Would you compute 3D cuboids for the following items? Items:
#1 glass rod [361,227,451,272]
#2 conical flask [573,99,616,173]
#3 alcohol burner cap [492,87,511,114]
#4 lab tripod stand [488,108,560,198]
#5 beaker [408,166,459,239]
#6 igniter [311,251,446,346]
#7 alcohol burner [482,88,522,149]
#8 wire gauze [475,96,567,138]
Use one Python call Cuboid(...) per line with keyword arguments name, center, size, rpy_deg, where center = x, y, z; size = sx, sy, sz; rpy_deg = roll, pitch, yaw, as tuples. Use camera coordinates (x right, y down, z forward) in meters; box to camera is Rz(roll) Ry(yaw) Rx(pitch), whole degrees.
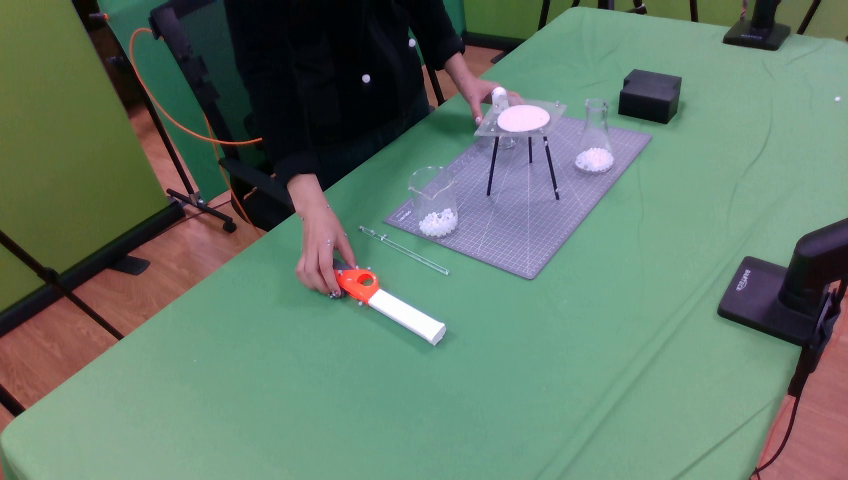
Cuboid(name="glass rod", center=(-0.033, 0.013, 0.984), size=(0.198, 0.008, 0.008), rpy_deg=(25, 51, 34))
Cuboid(name="conical flask", center=(0.302, -0.184, 1.061), size=(0.075, 0.122, 0.075), rpy_deg=(-5, 40, 5))
Cuboid(name="alcohol burner cap", center=(0.144, -0.264, 1.136), size=(0.034, 0.048, 0.033), rpy_deg=(-10, 40, 8))
Cuboid(name="lab tripod stand", center=(0.173, -0.150, 1.037), size=(0.148, 0.132, 0.147), rpy_deg=(-7, 38, 6))
Cuboid(name="beaker", center=(0.018, -0.058, 0.984), size=(0.074, 0.101, 0.083), rpy_deg=(-6, 41, 5))
Cuboid(name="igniter", center=(-0.079, 0.080, 0.899), size=(0.274, 0.025, 0.057), rpy_deg=(26, 61, 35))
Cuboid(name="alcohol burner", center=(0.149, -0.237, 1.160), size=(0.078, 0.119, 0.077), rpy_deg=(-4, 39, 4))
Cuboid(name="wire gauze", center=(0.161, -0.201, 0.994), size=(0.121, 0.011, 0.125), rpy_deg=(11, 43, 23))
